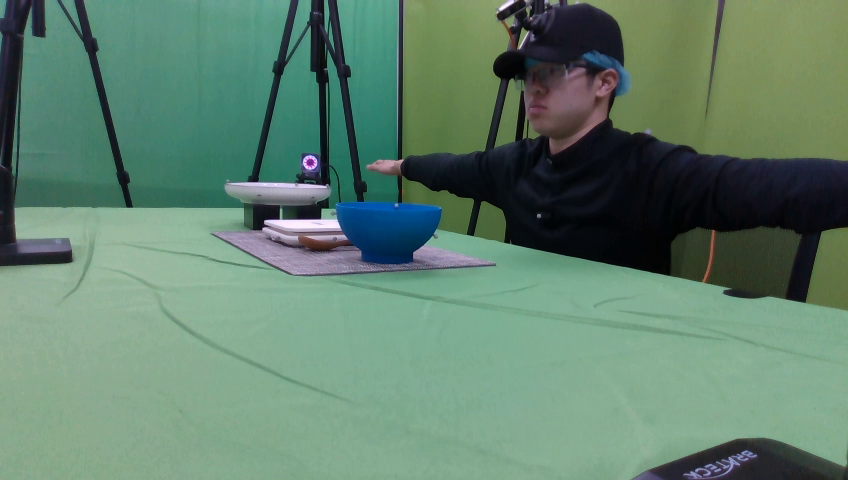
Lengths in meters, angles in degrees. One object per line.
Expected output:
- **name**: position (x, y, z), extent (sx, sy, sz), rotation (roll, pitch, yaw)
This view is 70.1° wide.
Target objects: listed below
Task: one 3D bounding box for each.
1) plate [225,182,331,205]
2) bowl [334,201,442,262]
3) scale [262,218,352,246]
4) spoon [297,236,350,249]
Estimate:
- **plate**: position (-0.294, -0.096, 1.229), extent (0.209, 0.038, 0.209), rotation (3, 7, 0)
- **bowl**: position (-0.051, -0.012, 0.848), extent (0.151, 0.077, 0.151), rotation (2, 7, 0)
- **scale**: position (-0.160, -0.016, 1.028), extent (0.202, 0.031, 0.148), rotation (-2, 9, -32)
- **spoon**: position (-0.103, 0.002, 0.943), extent (0.195, 0.021, 0.041), rotation (-2, -6, -30)
